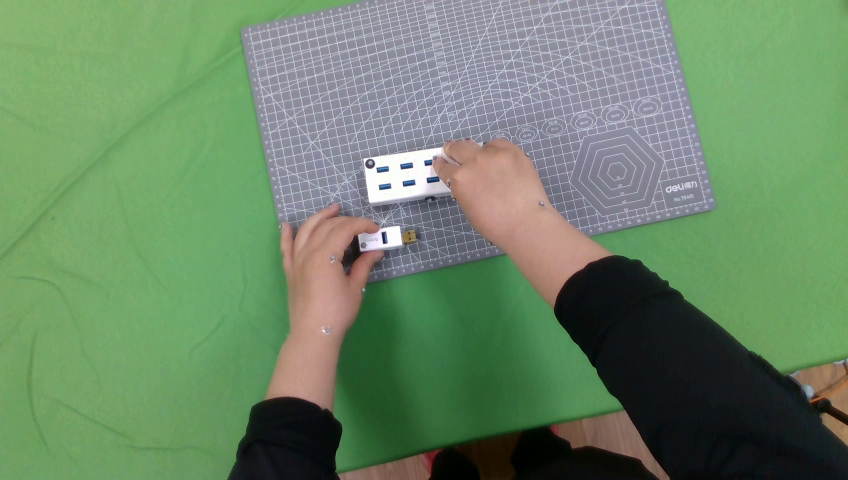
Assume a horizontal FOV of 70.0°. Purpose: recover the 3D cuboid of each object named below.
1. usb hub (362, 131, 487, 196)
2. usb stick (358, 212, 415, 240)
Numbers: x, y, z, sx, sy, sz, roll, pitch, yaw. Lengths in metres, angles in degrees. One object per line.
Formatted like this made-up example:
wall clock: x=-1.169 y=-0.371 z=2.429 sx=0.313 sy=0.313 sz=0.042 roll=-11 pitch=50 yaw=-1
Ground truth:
usb hub: x=0.000 y=-0.080 z=0.628 sx=0.125 sy=0.025 sz=0.049 roll=-8 pitch=85 yaw=1
usb stick: x=-0.038 y=-0.015 z=0.624 sx=0.059 sy=0.027 sz=0.021 roll=-7 pitch=108 yaw=-7
